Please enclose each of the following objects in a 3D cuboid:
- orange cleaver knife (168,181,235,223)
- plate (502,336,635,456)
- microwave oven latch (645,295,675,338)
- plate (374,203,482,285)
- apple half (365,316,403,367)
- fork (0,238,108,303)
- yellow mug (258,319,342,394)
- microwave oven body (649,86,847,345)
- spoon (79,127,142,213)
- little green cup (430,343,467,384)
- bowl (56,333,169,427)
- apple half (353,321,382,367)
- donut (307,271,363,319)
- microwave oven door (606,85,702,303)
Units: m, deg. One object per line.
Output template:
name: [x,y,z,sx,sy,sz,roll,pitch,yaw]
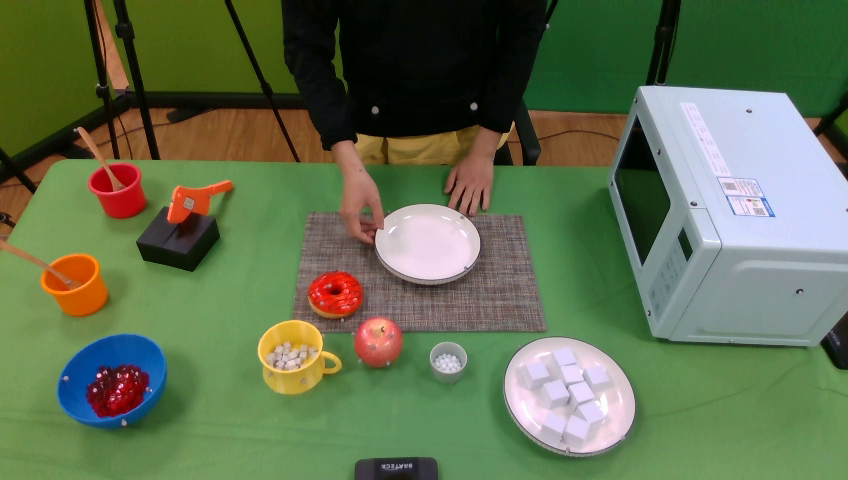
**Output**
orange cleaver knife: [-0.436,-0.078,1.196,0.012,0.077,0.211,16,15,10]
plate: [0.225,0.248,0.963,0.208,0.039,0.206,2,46,-2]
microwave oven latch: [0.412,0.134,1.061,0.030,0.029,0.078,3,45,0]
plate: [0.007,0.011,1.172,0.209,0.038,0.208,2,46,-2]
apple half: [-0.063,0.165,1.000,0.053,0.075,0.080,-16,45,-24]
fork: [-0.633,0.048,1.017,0.208,0.018,0.028,40,41,-27]
yellow mug: [-0.196,0.189,0.972,0.131,0.064,0.099,9,46,4]
microwave oven body: [0.567,-0.053,1.118,0.326,0.261,0.439,2,45,-1]
spoon: [-0.624,-0.139,1.203,0.041,0.021,0.194,-33,100,-26]
little green cup: [0.039,0.203,0.994,0.061,0.039,0.061,2,46,-2]
bowl: [-0.456,0.223,0.911,0.151,0.077,0.150,3,46,-2]
apple half: [-0.098,0.177,0.984,0.033,0.081,0.081,-17,49,-25]
donut: [-0.157,0.097,1.073,0.099,0.048,0.098,3,45,-3]
microwave oven door: [0.423,-0.094,1.140,0.039,0.245,0.353,2,46,-1]
